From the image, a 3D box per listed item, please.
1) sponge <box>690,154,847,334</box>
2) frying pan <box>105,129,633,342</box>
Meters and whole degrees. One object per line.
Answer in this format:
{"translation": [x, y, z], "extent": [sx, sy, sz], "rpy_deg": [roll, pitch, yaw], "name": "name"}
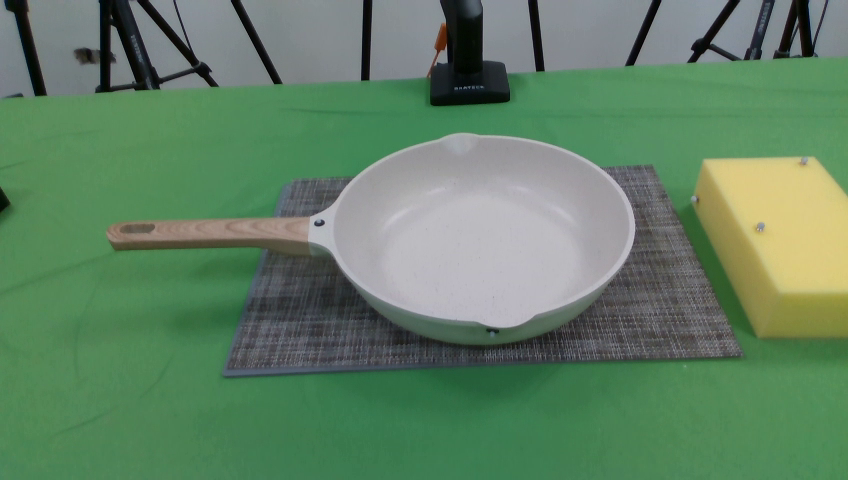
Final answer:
{"translation": [0.354, -0.004, 0.589], "extent": [0.118, 0.061, 0.205], "rpy_deg": [-2, 40, 3], "name": "sponge"}
{"translation": [-0.051, -0.010, 0.592], "extent": [0.489, 0.103, 0.303], "rpy_deg": [1, 39, -6], "name": "frying pan"}
